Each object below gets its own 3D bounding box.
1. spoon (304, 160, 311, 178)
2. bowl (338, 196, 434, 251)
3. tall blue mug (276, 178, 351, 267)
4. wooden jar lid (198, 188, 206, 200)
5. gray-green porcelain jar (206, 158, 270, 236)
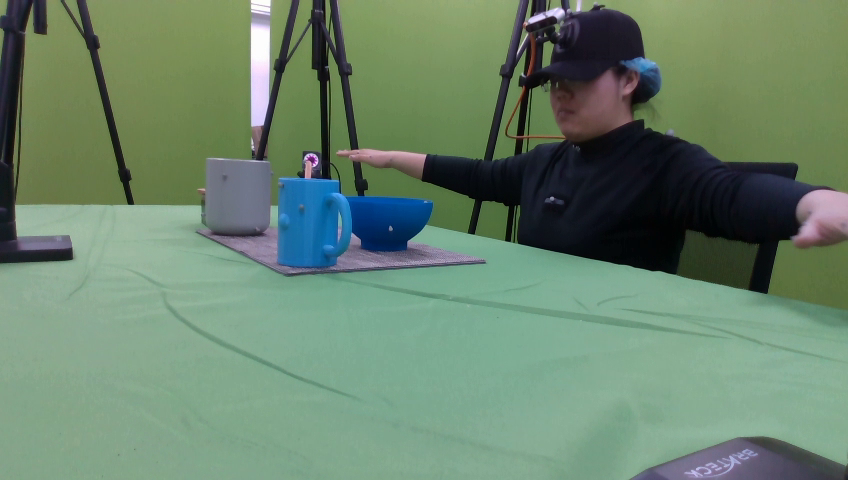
[{"bbox_3d":[-0.242,-0.103,1.251,0.042,0.021,0.193,0,51,-6],"label":"spoon"},{"bbox_3d":[-0.061,-0.026,0.943,0.151,0.077,0.151,2,7,0],"label":"bowl"},{"bbox_3d":[-0.133,-0.023,0.767,0.107,0.108,0.078,4,7,12],"label":"tall blue mug"},{"bbox_3d":[-0.382,-0.088,1.175,0.108,0.020,0.108,3,8,0],"label":"wooden jar lid"},{"bbox_3d":[-0.317,-0.074,1.032,0.106,0.126,0.106,3,7,0],"label":"gray-green porcelain jar"}]
